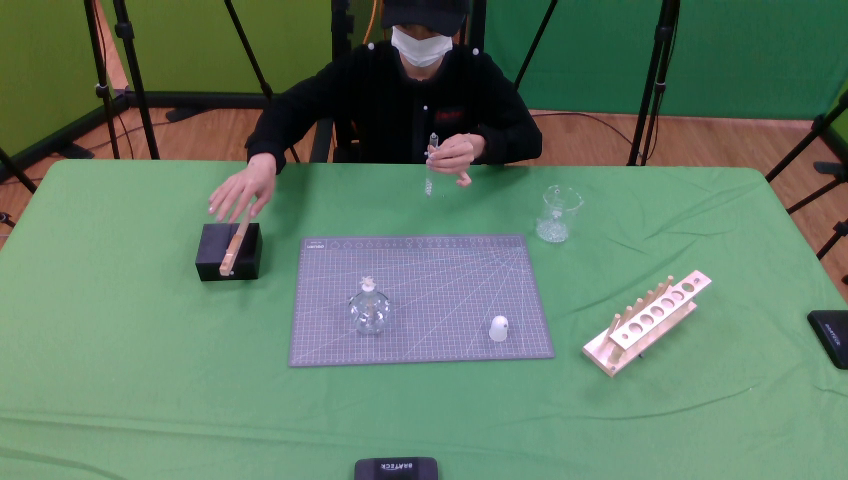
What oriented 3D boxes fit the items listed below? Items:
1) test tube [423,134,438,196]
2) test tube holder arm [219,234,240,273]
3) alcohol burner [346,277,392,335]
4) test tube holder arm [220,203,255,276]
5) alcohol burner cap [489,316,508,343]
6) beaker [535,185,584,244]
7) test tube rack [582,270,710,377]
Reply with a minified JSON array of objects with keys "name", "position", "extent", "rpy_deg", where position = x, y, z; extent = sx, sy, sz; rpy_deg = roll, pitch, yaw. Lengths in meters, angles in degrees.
[{"name":"test tube","position":[0.011,-0.137,1.137],"extent":[0.017,0.151,0.017],"rpy_deg":[3,50,-3]},{"name":"test tube holder arm","position":[-0.344,0.023,1.076],"extent":[0.015,0.010,0.087],"rpy_deg":[5,45,2]},{"name":"alcohol burner","position":[-0.093,0.106,1.021],"extent":[0.078,0.120,0.077],"rpy_deg":[1,46,-1]},{"name":"test tube holder arm","position":[-0.340,-0.005,1.112],"extent":[0.015,0.013,0.177],"rpy_deg":[5,46,2]},{"name":"alcohol burner cap","position":[0.130,0.151,1.045],"extent":[0.034,0.048,0.033],"rpy_deg":[2,46,-2]},{"name":"beaker","position":[0.268,-0.048,1.213],"extent":[0.084,0.101,0.073],"rpy_deg":[6,46,0]},{"name":"test tube rack","position":[0.389,0.132,1.057],"extent":[0.242,0.085,0.066],"rpy_deg":[-28,54,-28]}]
